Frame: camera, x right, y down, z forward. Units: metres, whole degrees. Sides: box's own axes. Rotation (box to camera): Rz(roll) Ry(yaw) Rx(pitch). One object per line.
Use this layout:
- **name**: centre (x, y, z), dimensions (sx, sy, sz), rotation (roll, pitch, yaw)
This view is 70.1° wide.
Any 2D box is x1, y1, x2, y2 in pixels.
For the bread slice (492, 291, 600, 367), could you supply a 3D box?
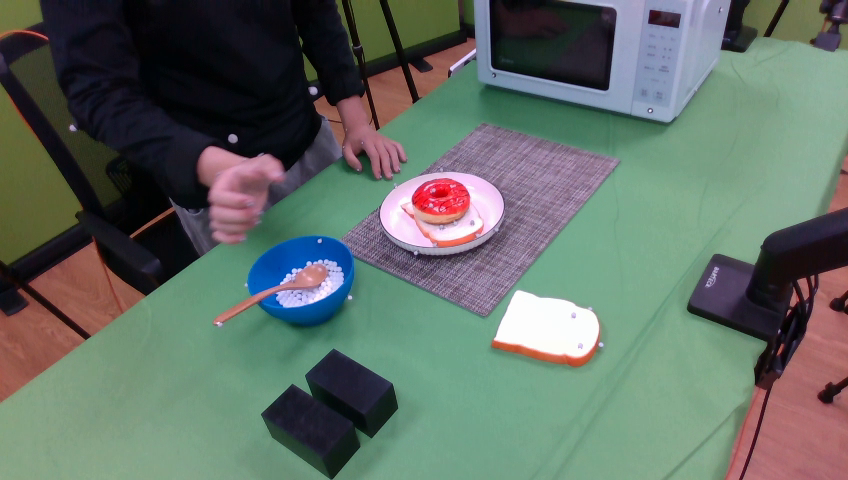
- **bread slice**: centre (0.169, 0.118, 0.811), dimensions (0.131, 0.019, 0.105), rotation (11, 44, 21)

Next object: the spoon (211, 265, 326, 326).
- **spoon**: centre (-0.208, 0.072, 0.822), dimensions (0.041, 0.021, 0.195), rotation (27, 29, 26)

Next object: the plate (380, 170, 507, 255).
- **plate**: centre (0.033, -0.042, 0.995), dimensions (0.207, 0.039, 0.206), rotation (-4, 40, 4)

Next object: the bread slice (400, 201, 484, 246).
- **bread slice**: centre (0.037, -0.038, 0.990), dimensions (0.107, 0.018, 0.133), rotation (-23, 43, -17)

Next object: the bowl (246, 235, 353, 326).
- **bowl**: centre (-0.170, 0.070, 0.868), dimensions (0.151, 0.077, 0.150), rotation (-4, 41, 4)

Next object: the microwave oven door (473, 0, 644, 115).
- **microwave oven door**: centre (0.257, -0.396, 1.199), dimensions (0.353, 0.245, 0.039), rotation (21, 48, 29)

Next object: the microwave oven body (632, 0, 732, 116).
- **microwave oven body**: centre (0.377, -0.462, 1.267), dimensions (0.438, 0.261, 0.327), rotation (21, 48, 30)

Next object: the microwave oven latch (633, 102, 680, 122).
- **microwave oven latch**: centre (0.444, -0.249, 1.157), dimensions (0.078, 0.029, 0.030), rotation (21, 49, 30)

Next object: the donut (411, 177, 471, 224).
- **donut**: centre (0.028, -0.064, 0.978), dimensions (0.099, 0.048, 0.098), rotation (-4, 39, 4)
